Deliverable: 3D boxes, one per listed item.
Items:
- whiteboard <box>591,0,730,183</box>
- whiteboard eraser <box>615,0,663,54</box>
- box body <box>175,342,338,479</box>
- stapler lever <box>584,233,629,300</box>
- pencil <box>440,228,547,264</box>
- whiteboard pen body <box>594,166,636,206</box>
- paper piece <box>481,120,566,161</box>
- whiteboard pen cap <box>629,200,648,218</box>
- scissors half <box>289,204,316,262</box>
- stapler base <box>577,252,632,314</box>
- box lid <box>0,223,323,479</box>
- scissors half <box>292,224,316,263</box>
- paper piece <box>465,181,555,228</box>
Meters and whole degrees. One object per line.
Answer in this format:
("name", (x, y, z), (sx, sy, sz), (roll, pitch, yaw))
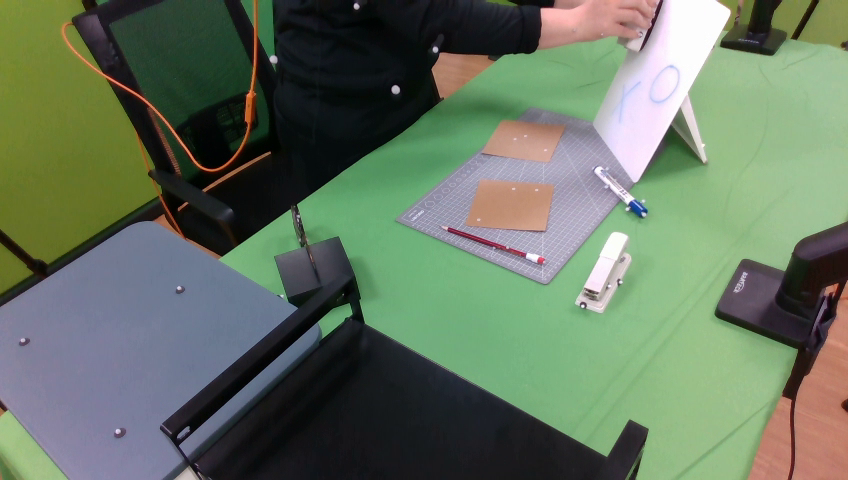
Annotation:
("whiteboard", (0.451, -0.270, 1.055), (0.144, 0.305, 0.216), (7, 37, -14))
("whiteboard eraser", (0.377, -0.384, 1.051), (0.042, 0.113, 0.055), (9, 26, -15))
("box body", (-0.311, 0.165, 0.720), (0.361, 0.161, 0.255), (23, 49, 32))
("stapler lever", (0.261, 0.034, 0.858), (0.026, 0.040, 0.118), (16, 46, 30))
("pencil", (0.106, 0.007, 0.958), (0.192, 0.012, 0.012), (18, 46, 30))
("whiteboard pen body", (0.331, -0.085, 1.027), (0.017, 0.017, 0.139), (-16, 41, -10))
("paper piece", (0.197, -0.199, 1.187), (0.135, 0.004, 0.135), (11, 43, 21))
("whiteboard pen cap", (0.348, -0.052, 0.983), (0.018, 0.018, 0.033), (-18, 43, -12))
("scissors half", (-0.189, -0.011, 0.944), (0.013, 0.040, 0.173), (-14, 37, -17))
("stapler base", (0.264, 0.051, 0.875), (0.041, 0.024, 0.131), (16, 47, 30))
("box lid", (-0.318, 0.109, 0.671), (0.368, 0.015, 0.264), (24, 49, 32))
("scissors half", (-0.187, 0.007, 0.954), (0.013, 0.040, 0.174), (-19, 21, -14))
("paper piece", (0.150, -0.062, 1.034), (0.137, 0.009, 0.136), (4, 36, 17))
